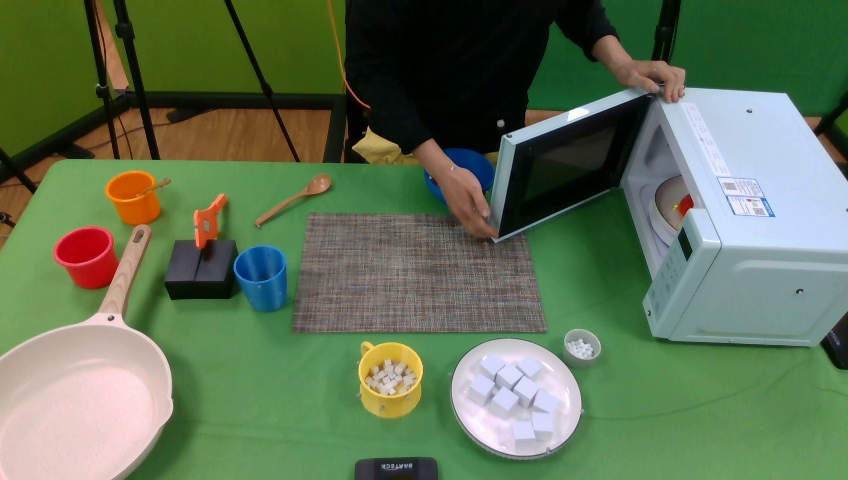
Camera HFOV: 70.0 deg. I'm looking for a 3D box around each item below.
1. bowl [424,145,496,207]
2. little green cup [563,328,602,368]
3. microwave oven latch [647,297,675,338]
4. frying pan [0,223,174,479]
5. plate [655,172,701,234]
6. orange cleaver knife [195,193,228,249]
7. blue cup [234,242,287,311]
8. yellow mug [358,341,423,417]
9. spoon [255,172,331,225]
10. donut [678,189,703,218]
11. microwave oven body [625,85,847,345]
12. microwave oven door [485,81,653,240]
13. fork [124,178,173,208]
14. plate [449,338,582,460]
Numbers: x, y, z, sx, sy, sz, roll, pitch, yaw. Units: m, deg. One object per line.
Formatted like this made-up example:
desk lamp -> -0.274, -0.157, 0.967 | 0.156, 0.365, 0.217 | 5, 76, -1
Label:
bowl -> 0.074, -0.123, 1.277 | 0.151, 0.077, 0.150 | 2, 47, -2
little green cup -> 0.265, 0.184, 1.025 | 0.061, 0.039, 0.061 | 1, 46, -1
microwave oven latch -> 0.413, 0.133, 1.060 | 0.030, 0.029, 0.078 | 5, 46, 2
frying pan -> -0.505, 0.169, 0.941 | 0.307, 0.103, 0.485 | 5, 54, -1
plate -> 0.556, -0.054, 1.182 | 0.209, 0.038, 0.208 | 0, 45, 0
orange cleaver knife -> -0.406, -0.041, 1.163 | 0.012, 0.077, 0.210 | 0, 18, -3
blue cup -> -0.276, 0.071, 1.052 | 0.093, 0.101, 0.092 | 1, 48, -1
yellow mug -> -0.062, 0.210, 0.961 | 0.100, 0.064, 0.130 | -29, 54, -27
spoon -> -0.272, -0.087, 1.257 | 0.041, 0.022, 0.193 | 42, 57, 18
donut -> 0.542, -0.062, 1.174 | 0.099, 0.048, 0.098 | 2, 43, -2
microwave oven body -> 0.568, -0.054, 1.116 | 0.326, 0.261, 0.439 | 2, 46, -1
microwave oven door -> 0.285, -0.157, 1.187 | 0.356, 0.245, 0.039 | -23, 52, -24
fork -> -0.525, -0.090, 1.154 | 0.207, 0.019, 0.028 | -17, 27, 45
plate -> 0.141, 0.251, 0.955 | 0.208, 0.039, 0.206 | 2, 46, -2
